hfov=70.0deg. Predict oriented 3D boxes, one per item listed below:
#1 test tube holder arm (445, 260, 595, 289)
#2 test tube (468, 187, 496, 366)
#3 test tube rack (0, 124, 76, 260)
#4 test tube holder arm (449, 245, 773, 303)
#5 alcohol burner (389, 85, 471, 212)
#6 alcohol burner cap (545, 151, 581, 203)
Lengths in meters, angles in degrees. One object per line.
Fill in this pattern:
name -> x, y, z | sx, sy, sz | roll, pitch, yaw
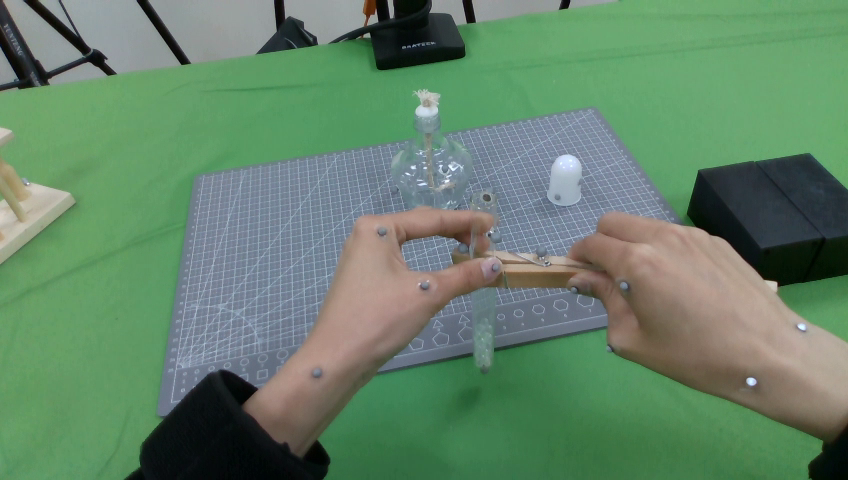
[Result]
test tube holder arm -> 0.056, 0.020, 0.359 | 0.087, 0.015, 0.010 | -3, 43, 12
test tube -> 0.036, 0.031, 0.383 | 0.017, 0.151, 0.017 | -2, 42, 3
test tube rack -> -0.448, -0.002, 0.543 | 0.066, 0.086, 0.241 | 14, 47, 20
test tube holder arm -> 0.100, 0.018, 0.349 | 0.177, 0.015, 0.013 | 5, 46, 20
alcohol burner -> 0.004, -0.086, 0.555 | 0.078, 0.120, 0.077 | -4, 42, 4
alcohol burner cap -> 0.132, -0.061, 0.568 | 0.034, 0.048, 0.033 | -4, 43, 4
